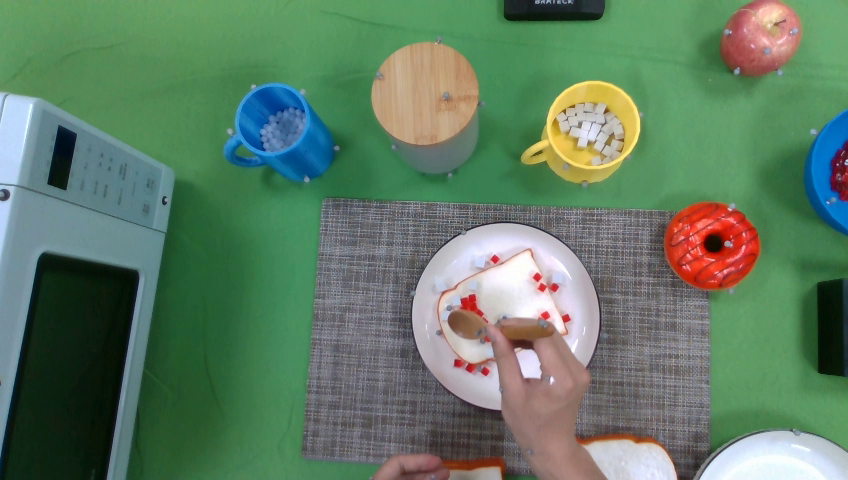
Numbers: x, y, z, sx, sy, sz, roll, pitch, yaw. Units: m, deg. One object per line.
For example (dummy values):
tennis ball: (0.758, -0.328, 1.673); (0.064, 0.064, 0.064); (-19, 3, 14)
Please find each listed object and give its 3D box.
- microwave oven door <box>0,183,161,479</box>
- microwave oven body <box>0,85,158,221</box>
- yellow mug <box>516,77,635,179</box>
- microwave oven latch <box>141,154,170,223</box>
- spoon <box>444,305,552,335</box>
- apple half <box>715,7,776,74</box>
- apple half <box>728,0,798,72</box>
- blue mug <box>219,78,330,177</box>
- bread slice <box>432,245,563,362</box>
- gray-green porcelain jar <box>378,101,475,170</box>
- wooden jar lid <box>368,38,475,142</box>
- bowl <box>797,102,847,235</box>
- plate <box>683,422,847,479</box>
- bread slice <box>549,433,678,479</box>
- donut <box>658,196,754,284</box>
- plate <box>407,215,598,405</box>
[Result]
microwave oven door: (-0.361, 0.141, 0.590); (0.039, 0.244, 0.354); (6, 83, 6)
microwave oven body: (-0.499, 0.085, 0.615); (0.326, 0.261, 0.440); (6, 84, 5)
yellow mug: (0.166, -0.119, 0.686); (0.131, 0.064, 0.099); (-21, 81, 3)
microwave oven latch: (-0.323, -0.061, 0.717); (0.030, 0.029, 0.079); (8, 84, 6)
spoon: (0.065, 0.079, 0.568); (0.021, 0.193, 0.042); (-41, 99, -17)
apple half: (0.347, -0.214, 0.676); (0.033, 0.081, 0.081); (-30, 80, -4)
apple half: (0.380, -0.234, 0.678); (0.053, 0.075, 0.080); (-29, 77, -5)
blue mug: (-0.176, -0.119, 0.695); (0.116, 0.106, 0.082); (-23, 80, 2)
bread slice: (0.077, 0.078, 0.679); (0.131, 0.019, 0.104); (-24, 81, 1)
gray-green porcelain jar: (0.004, -0.140, 0.672); (0.106, 0.127, 0.105); (-1, 82, 5)
wooden jar lid: (-0.002, -0.149, 0.611); (0.108, 0.021, 0.108); (-1, 80, 5)
bowl: (0.465, -0.068, 0.646); (0.151, 0.077, 0.151); (-1, 83, 6)
plate: (0.364, 0.293, 0.627); (0.209, 0.038, 0.208); (-1, 82, 5)
bread slice: (0.199, 0.256, 0.621); (0.135, 0.018, 0.106); (-3, 79, -15)
donut: (0.307, 0.000, 0.664); (0.099, 0.048, 0.099); (-1, 83, 5)
plate: (0.086, 0.077, 0.677); (0.207, 0.039, 0.207); (-1, 83, 5)
